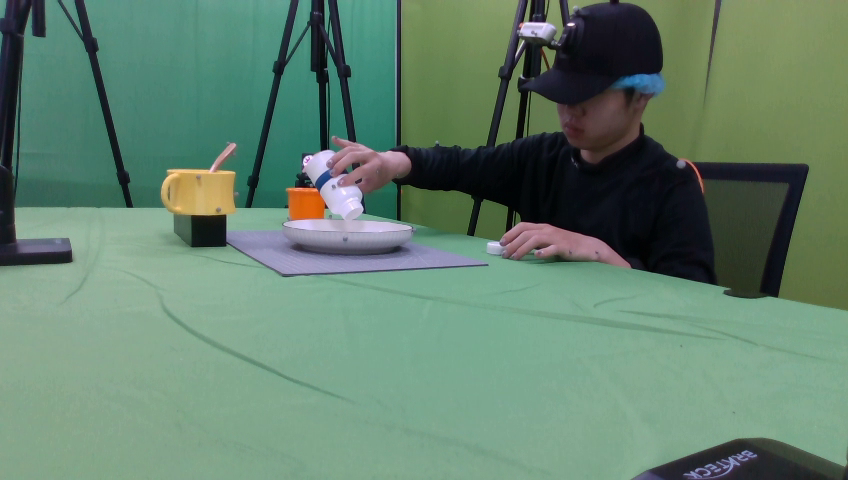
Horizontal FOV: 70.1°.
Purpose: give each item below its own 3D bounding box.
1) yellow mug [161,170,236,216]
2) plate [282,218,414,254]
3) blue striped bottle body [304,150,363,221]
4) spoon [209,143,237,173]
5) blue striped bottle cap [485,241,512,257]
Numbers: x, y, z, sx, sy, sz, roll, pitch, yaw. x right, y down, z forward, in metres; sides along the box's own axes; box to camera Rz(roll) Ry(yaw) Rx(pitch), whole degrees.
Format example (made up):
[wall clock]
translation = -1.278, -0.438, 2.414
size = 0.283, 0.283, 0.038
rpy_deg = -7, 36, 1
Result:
[yellow mug]
translation = -0.354, -0.074, 0.935
size = 0.099, 0.064, 0.131
rpy_deg = 5, 10, 21
[plate]
translation = -0.121, -0.007, 0.971
size = 0.208, 0.039, 0.207
rpy_deg = 2, 7, 0
[blue striped bottle body]
translation = -0.152, -0.091, 1.046
size = 0.063, 0.120, 0.063
rpy_deg = -31, -17, -10
[spoon]
translation = -0.341, -0.113, 0.990
size = 0.041, 0.021, 0.193
rpy_deg = 1, 40, 7
[blue striped bottle cap]
translation = 0.123, 0.015, 1.000
size = 0.044, 0.020, 0.044
rpy_deg = 6, 7, 0
